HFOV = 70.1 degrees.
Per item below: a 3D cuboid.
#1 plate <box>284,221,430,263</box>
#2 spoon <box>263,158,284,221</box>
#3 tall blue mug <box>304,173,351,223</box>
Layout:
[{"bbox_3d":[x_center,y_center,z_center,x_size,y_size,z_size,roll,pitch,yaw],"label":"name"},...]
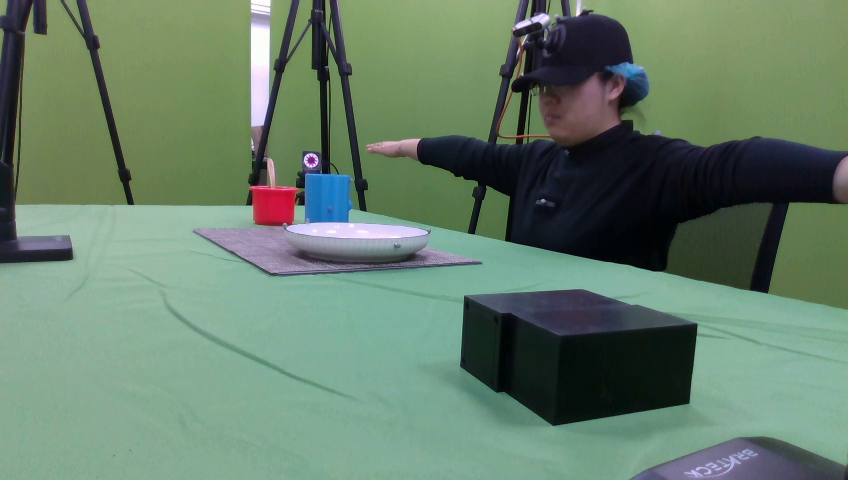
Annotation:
[{"bbox_3d":[-0.095,0.002,0.870,0.208,0.039,0.207,2,7,0],"label":"plate"},{"bbox_3d":[-0.319,-0.110,1.274,0.042,0.021,0.193,3,51,-20],"label":"spoon"},{"bbox_3d":[-0.178,-0.063,1.062,0.078,0.108,0.106,-4,10,-38],"label":"tall blue mug"}]
